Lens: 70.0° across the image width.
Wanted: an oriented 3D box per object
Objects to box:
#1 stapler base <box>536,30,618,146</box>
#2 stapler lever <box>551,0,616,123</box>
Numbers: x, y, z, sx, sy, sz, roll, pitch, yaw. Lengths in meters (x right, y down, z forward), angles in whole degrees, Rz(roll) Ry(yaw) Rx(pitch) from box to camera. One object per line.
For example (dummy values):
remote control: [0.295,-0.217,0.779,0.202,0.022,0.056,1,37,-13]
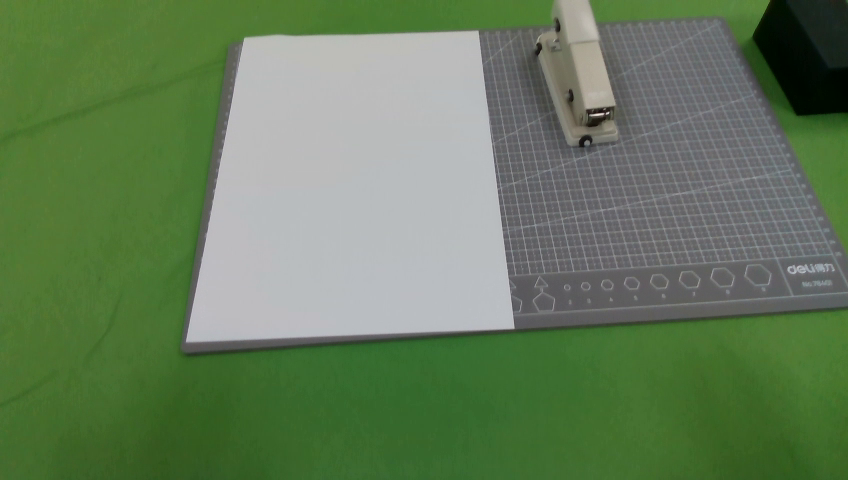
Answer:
stapler base: [0.125,-0.134,0.499,0.041,0.024,0.129,-8,60,-2]
stapler lever: [0.125,-0.146,0.477,0.027,0.040,0.117,-8,60,-1]
